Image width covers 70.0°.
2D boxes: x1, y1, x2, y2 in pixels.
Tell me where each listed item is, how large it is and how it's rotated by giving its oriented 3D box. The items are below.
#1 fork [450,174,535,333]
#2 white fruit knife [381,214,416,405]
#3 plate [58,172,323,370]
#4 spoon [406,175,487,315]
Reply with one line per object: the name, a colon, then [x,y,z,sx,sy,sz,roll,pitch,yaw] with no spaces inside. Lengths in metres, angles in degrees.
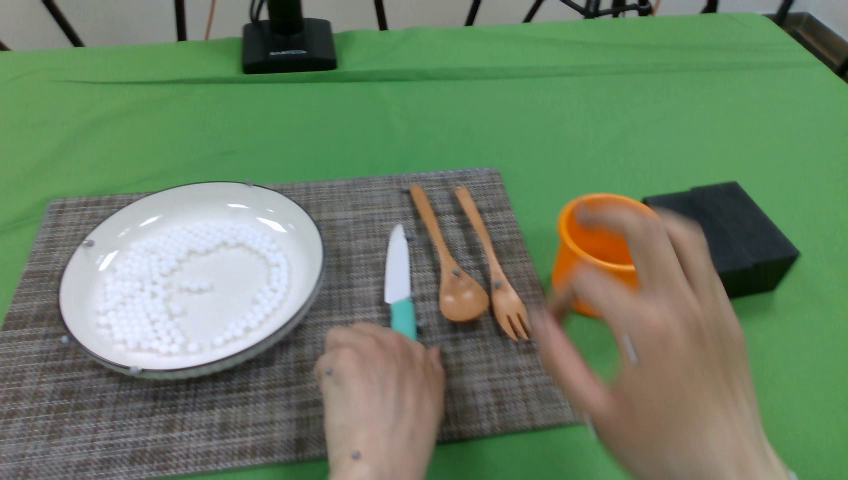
fork: [0.056,0.004,0.556,0.028,0.019,0.205,-13,50,-7]
white fruit knife: [-0.022,0.047,0.513,0.027,0.016,0.205,8,44,-12]
plate: [-0.188,0.023,0.511,0.209,0.038,0.207,2,47,-1]
spoon: [0.013,-0.004,0.558,0.041,0.022,0.191,-22,50,1]
